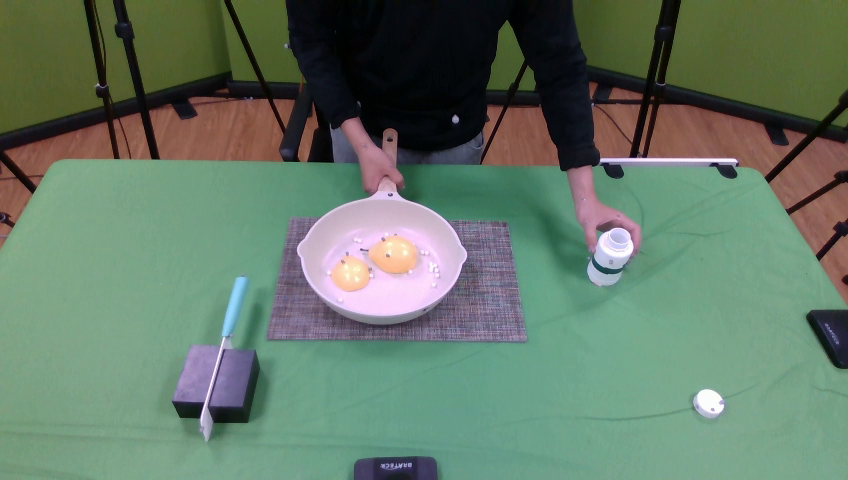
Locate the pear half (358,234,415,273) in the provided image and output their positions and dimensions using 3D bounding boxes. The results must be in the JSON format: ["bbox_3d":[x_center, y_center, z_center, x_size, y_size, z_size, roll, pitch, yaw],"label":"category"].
[{"bbox_3d":[-0.074,0.017,1.146,0.110,0.056,0.076,8,41,6],"label":"pear half"}]

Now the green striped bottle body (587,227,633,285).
[{"bbox_3d":[0.347,0.027,1.127,0.063,0.120,0.063,1,53,0],"label":"green striped bottle body"}]

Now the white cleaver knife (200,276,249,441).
[{"bbox_3d":[-0.321,0.177,0.971,0.021,0.066,0.284,7,48,-5],"label":"white cleaver knife"}]

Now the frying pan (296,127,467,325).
[{"bbox_3d":[-0.075,-0.044,1.172,0.307,0.103,0.485,3,55,-2],"label":"frying pan"}]

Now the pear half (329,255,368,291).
[{"bbox_3d":[-0.140,0.053,1.122,0.070,0.031,0.087,-7,50,-16],"label":"pear half"}]

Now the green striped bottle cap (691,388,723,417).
[{"bbox_3d":[0.460,0.263,0.984,0.044,0.020,0.044,3,47,-3],"label":"green striped bottle cap"}]
